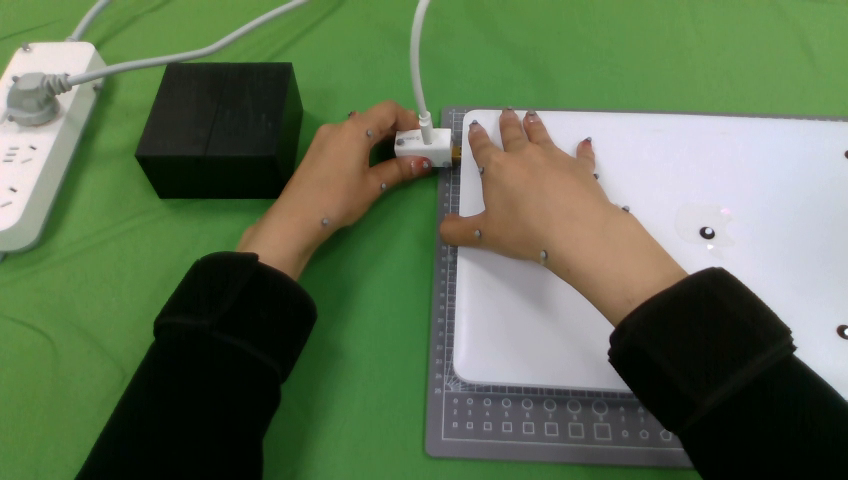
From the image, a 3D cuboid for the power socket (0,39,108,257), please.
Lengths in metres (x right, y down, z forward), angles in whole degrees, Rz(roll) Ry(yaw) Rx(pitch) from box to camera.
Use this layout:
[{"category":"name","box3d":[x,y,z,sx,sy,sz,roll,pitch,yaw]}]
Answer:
[{"category":"power socket","box3d":[-0.321,-0.085,0.490,0.072,0.033,0.224,0,56,-1]}]

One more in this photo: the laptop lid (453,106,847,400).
[{"category":"laptop lid","box3d":[0.199,-0.004,0.430,0.356,0.013,0.239,4,59,3]}]

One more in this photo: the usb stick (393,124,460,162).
[{"category":"usb stick","box3d":[0.006,-0.077,0.480,0.059,0.027,0.021,3,65,4]}]

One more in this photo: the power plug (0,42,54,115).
[{"category":"power plug","box3d":[-0.310,-0.129,0.458,0.053,0.073,0.035,10,38,-22]}]

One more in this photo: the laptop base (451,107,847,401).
[{"category":"laptop base","box3d":[0.199,0.001,0.441,0.354,0.023,0.233,2,60,2]}]
